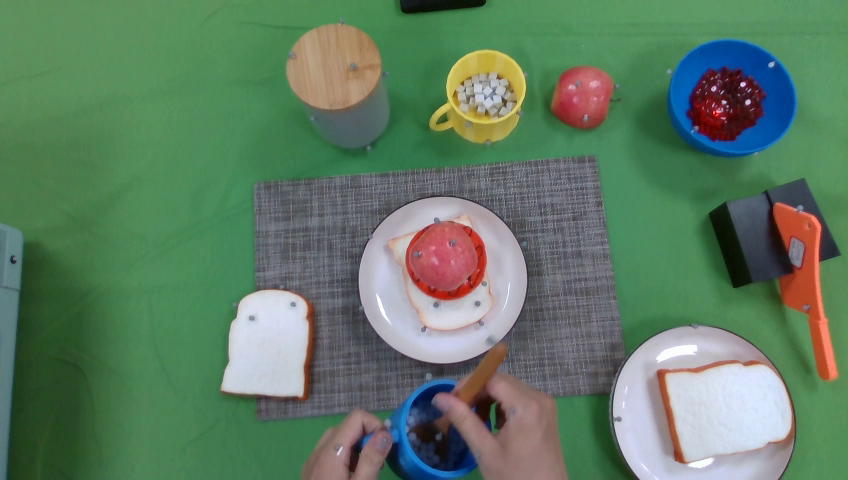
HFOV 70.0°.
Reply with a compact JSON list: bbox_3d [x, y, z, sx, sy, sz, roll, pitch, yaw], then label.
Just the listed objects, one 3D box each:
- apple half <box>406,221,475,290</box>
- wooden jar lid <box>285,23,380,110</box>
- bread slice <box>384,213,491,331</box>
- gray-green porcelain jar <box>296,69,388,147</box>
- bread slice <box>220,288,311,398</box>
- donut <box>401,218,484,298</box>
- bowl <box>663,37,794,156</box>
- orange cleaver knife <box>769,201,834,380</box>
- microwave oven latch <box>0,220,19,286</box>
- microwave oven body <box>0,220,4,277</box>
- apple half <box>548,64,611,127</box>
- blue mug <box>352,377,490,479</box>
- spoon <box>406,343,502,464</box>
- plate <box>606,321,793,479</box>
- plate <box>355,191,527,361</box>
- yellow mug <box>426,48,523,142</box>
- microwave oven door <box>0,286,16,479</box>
[{"bbox_3d":[0.019,0.016,0.684,0.081,0.033,0.081,-2,79,8],"label":"apple half"},{"bbox_3d":[-0.104,-0.196,0.695,0.108,0.021,0.108,-1,75,3],"label":"wooden jar lid"},{"bbox_3d":[0.025,0.043,0.743,0.107,0.018,0.133,-22,78,-2],"label":"bread slice"},{"bbox_3d":[-0.101,-0.182,0.755,0.106,0.127,0.105,0,77,2],"label":"gray-green porcelain jar"},{"bbox_3d":[-0.192,0.124,0.743,0.105,0.019,0.131,3,79,2],"label":"bread slice"},{"bbox_3d":[0.023,0.022,0.719,0.099,0.048,0.098,0,78,2],"label":"donut"},{"bbox_3d":[0.367,-0.167,0.760,0.151,0.077,0.150,0,78,2],"label":"bowl"},{"bbox_3d":[0.438,0.057,0.706,0.012,0.077,0.212,-15,99,-8],"label":"orange cleaver knife"},{"bbox_3d":[-0.526,0.016,0.751,0.030,0.029,0.079,-1,78,2],"label":"microwave oven latch"},{"bbox_3d":[-0.665,0.178,0.622,0.326,0.261,0.439,-4,78,1],"label":"microwave oven body"},{"bbox_3d":[0.203,-0.194,0.785,0.074,0.053,0.080,17,79,8],"label":"apple half"},{"bbox_3d":[-0.009,0.182,0.566,0.117,0.106,0.081,-4,67,-16],"label":"blue mug"},{"bbox_3d":[0.024,0.145,0.520,0.041,0.195,0.021,39,47,12],"label":"spoon"},{"bbox_3d":[0.313,0.200,0.702,0.209,0.038,0.208,0,77,2],"label":"plate"},{"bbox_3d":[0.020,0.044,0.743,0.207,0.039,0.206,0,78,2],"label":"plate"},{"bbox_3d":[0.061,-0.178,0.780,0.131,0.064,0.099,-28,78,-4],"label":"yellow mug"},{"bbox_3d":[-0.518,0.207,0.605,0.039,0.245,0.354,-5,77,1],"label":"microwave oven door"}]
